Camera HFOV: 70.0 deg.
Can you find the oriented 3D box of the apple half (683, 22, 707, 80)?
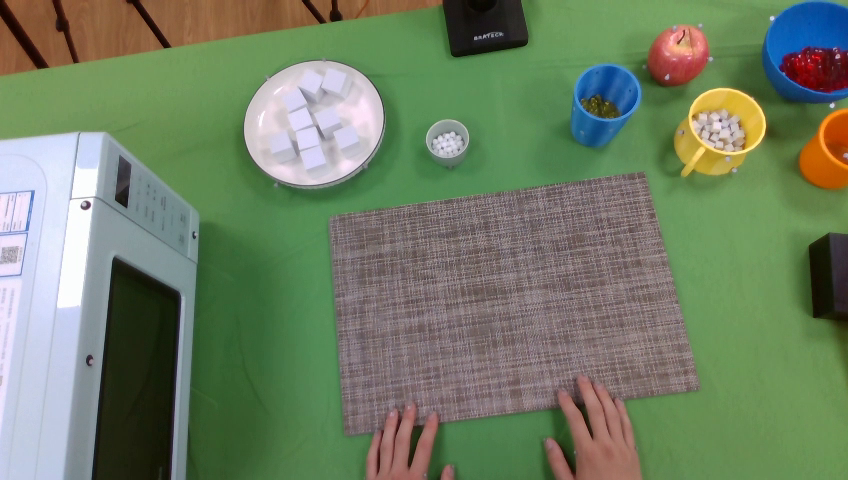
[{"bbox_3d":[0.382,-0.268,0.861,0.033,0.082,0.081,-3,71,7],"label":"apple half"}]

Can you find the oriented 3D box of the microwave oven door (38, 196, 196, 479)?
[{"bbox_3d":[-0.327,0.159,0.671,0.039,0.245,0.353,-5,72,3],"label":"microwave oven door"}]

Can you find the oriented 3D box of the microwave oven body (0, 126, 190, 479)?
[{"bbox_3d":[-0.474,0.134,0.696,0.326,0.262,0.439,-5,72,2],"label":"microwave oven body"}]

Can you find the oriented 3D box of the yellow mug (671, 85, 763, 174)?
[{"bbox_3d":[0.388,-0.141,0.825,0.099,0.064,0.130,39,80,15],"label":"yellow mug"}]

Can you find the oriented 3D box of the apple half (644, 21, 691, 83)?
[{"bbox_3d":[0.343,-0.265,0.865,0.053,0.075,0.080,-3,75,7],"label":"apple half"}]

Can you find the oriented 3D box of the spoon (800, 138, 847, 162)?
[{"bbox_3d":[0.571,-0.107,0.757,0.041,0.192,0.022,-49,119,-11],"label":"spoon"}]

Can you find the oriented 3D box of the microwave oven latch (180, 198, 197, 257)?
[{"bbox_3d":[-0.331,-0.016,0.835,0.030,0.030,0.078,-3,73,3],"label":"microwave oven latch"}]

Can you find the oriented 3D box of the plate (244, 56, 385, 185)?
[{"bbox_3d":[-0.158,-0.172,0.892,0.207,0.039,0.206,-1,72,4],"label":"plate"}]

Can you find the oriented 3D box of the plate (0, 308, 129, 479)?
[{"bbox_3d":[-0.456,0.187,0.732,0.209,0.038,0.208,-1,72,3],"label":"plate"}]

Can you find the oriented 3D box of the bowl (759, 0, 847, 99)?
[{"bbox_3d":[0.534,-0.252,0.843,0.151,0.077,0.150,-1,73,5],"label":"bowl"}]

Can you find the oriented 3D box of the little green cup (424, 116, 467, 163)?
[{"bbox_3d":[0.032,-0.142,0.868,0.061,0.039,0.061,-1,72,4],"label":"little green cup"}]

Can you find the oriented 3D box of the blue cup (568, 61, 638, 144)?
[{"bbox_3d":[0.237,-0.180,0.831,0.092,0.101,0.092,-1,73,3],"label":"blue cup"}]
